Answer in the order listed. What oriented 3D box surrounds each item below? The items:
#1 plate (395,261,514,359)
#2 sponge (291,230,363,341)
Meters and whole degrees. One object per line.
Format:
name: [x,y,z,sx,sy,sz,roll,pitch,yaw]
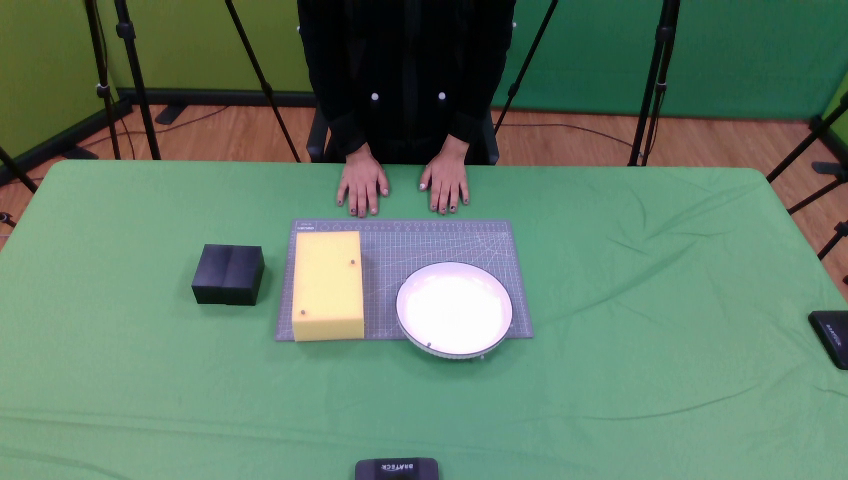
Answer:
plate: [0.052,0.124,1.066,0.209,0.038,0.208,2,46,-2]
sponge: [-0.171,0.077,1.081,0.118,0.061,0.205,-3,47,-6]
